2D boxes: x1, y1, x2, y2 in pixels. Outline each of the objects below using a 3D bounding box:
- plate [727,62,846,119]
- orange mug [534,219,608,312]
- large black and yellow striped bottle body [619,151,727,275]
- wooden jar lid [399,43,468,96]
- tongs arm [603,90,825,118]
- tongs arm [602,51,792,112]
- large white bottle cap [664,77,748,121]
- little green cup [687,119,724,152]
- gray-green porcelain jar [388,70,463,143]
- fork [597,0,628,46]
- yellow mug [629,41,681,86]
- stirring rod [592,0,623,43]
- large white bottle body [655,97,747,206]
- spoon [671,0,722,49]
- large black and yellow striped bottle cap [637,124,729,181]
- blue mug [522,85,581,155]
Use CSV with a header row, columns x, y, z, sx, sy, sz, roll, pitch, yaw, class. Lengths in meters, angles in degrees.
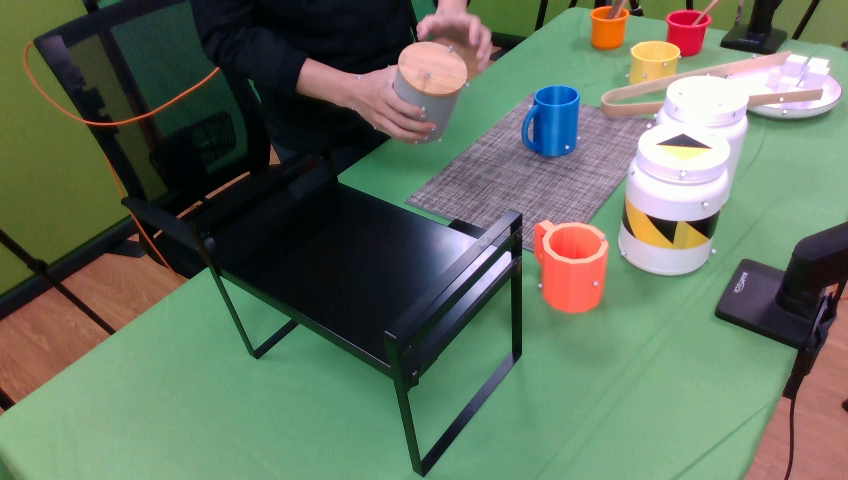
x,y,z,sx,sy,sz,roll,pitch,yaw,class
0.709,-0.292,1.197,0.207,0.039,0.206,-4,40,4,plate
0.200,0.027,0.858,0.084,0.101,0.125,-24,47,-18,orange mug
0.354,-0.056,0.865,0.131,0.185,0.130,-4,41,4,large black and yellow striped bottle body
0.014,-0.260,0.934,0.109,0.021,0.108,6,59,-10,wooden jar lid
0.546,-0.262,1.163,0.386,0.028,0.028,-1,49,18,tongs arm
0.552,-0.320,1.224,0.384,0.027,0.050,-10,43,7,tongs arm
0.421,-0.212,0.905,0.115,0.018,0.114,-4,40,4,large white bottle cap
0.514,-0.191,1.109,0.061,0.039,0.061,-5,40,5,little green cup
0.000,-0.230,0.987,0.106,0.126,0.105,7,59,-12,gray-green porcelain jar
0.479,-0.558,1.455,0.028,0.019,0.207,35,100,38,fork
0.495,-0.389,1.321,0.100,0.064,0.130,-14,40,-6,yellow mug
0.460,-0.557,1.461,0.014,0.176,0.006,35,11,22,stirring rod
0.430,-0.148,0.959,0.130,0.185,0.130,-4,41,4,large white bottle body
0.639,-0.510,1.380,0.193,0.022,0.041,-50,40,19,spoon
0.346,-0.119,0.810,0.115,0.019,0.114,-5,41,5,large black and yellow striped bottle cap
0.233,-0.218,1.127,0.117,0.106,0.081,-23,43,-16,blue mug
